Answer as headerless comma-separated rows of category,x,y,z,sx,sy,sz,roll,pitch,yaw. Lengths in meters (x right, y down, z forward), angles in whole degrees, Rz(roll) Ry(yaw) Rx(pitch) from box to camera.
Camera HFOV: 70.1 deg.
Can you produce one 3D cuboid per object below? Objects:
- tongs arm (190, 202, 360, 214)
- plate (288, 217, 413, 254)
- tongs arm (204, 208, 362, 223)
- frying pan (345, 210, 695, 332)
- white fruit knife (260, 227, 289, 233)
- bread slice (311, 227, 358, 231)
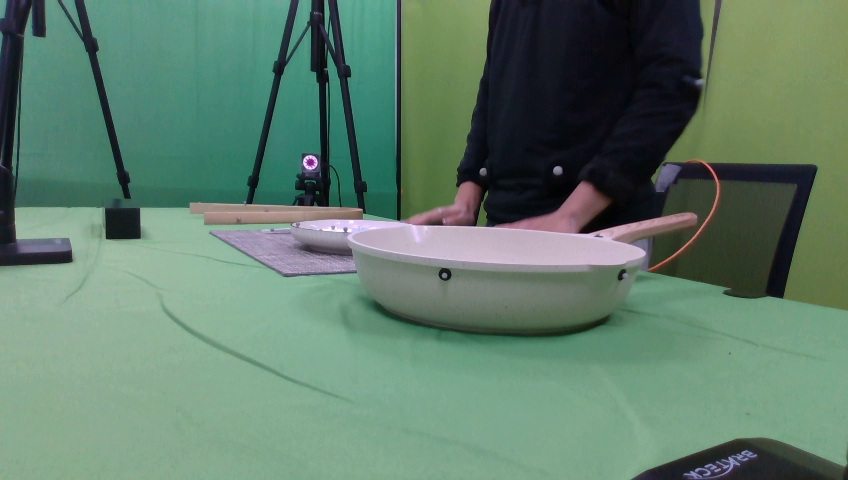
tongs arm,-0.333,-0.068,1.403,0.387,0.026,0.050,0,8,-28
plate,-0.109,-0.007,0.956,0.208,0.039,0.207,2,7,0
tongs arm,-0.292,-0.055,1.337,0.390,0.028,0.028,-3,6,-40
frying pan,0.153,0.009,0.668,0.490,0.102,0.305,-12,15,-32
white fruit knife,-0.205,-0.022,1.136,0.208,0.016,0.027,-4,-19,-33
bread slice,-0.115,-0.005,0.950,0.134,0.018,0.107,3,6,-7
